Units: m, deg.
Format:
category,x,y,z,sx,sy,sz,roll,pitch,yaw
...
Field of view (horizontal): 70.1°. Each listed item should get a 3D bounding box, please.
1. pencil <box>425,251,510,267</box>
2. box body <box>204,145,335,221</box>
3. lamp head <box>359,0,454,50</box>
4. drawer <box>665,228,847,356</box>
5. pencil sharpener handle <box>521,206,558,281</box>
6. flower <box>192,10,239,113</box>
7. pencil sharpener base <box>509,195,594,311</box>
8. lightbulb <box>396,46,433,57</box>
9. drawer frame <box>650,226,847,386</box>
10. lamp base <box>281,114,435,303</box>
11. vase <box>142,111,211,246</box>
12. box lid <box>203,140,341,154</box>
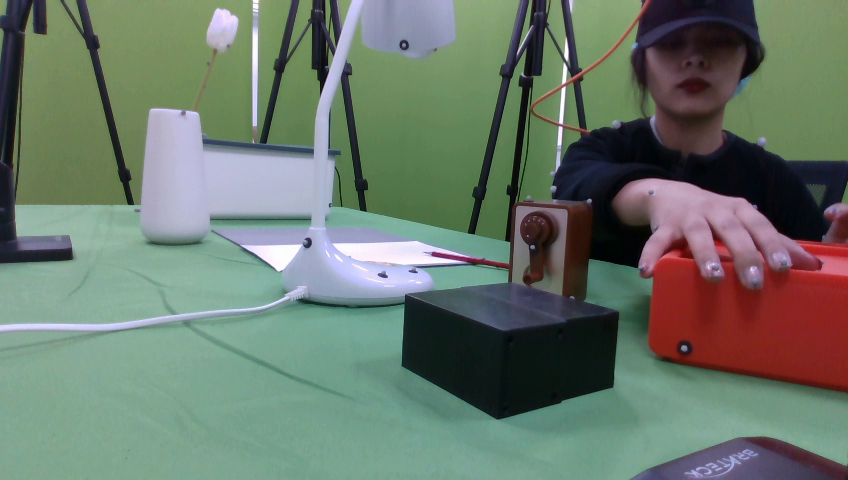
category,x,y,z,sx,sy,sz,roll,pitch,yaw
pencil,0.076,0.027,0.839,0.193,0.012,0.012,8,9,39
box body,-0.411,-0.135,1.386,0.366,0.160,0.253,-2,9,-29
lamp head,-0.024,-0.283,0.674,0.112,0.123,0.112,-3,38,3
drawer,0.330,0.041,0.545,0.194,0.073,0.212,7,10,25
pencil sharpener handle,0.101,0.003,0.556,0.036,0.067,0.031,0,5,31
flower,-0.354,-0.174,0.915,0.038,0.361,0.044,18,-4,11
pencil sharpener base,0.126,0.010,0.602,0.061,0.107,0.077,7,9,31
lightbulb,-0.018,-0.265,0.692,0.059,0.108,0.059,-10,28,6
drawer frame,0.303,0.042,0.492,0.201,0.082,0.214,6,9,26
lamp base,-0.071,-0.035,0.614,0.160,0.180,0.180,6,10,27
vase,-0.378,-0.093,0.920,0.098,0.200,0.098,2,9,0
box lid,-0.396,-0.212,1.373,0.373,0.015,0.262,-1,9,-29
